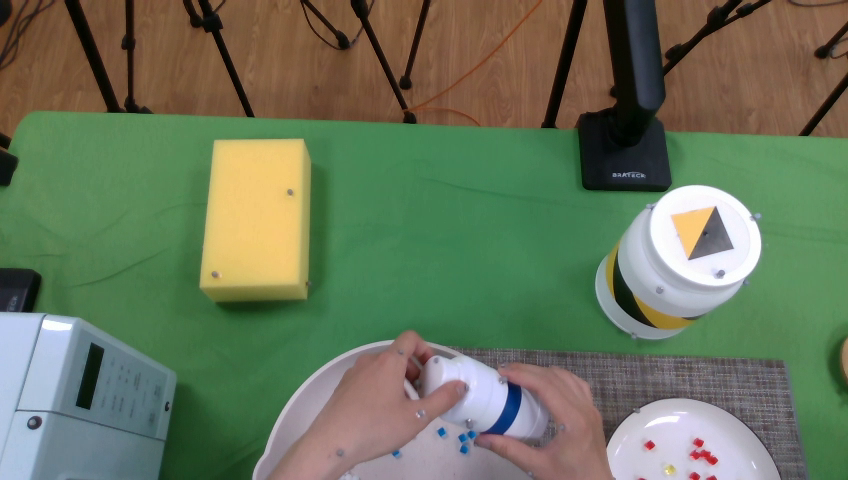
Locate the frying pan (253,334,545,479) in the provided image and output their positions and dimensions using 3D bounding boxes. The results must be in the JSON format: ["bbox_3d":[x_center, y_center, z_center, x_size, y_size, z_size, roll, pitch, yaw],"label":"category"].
[{"bbox_3d":[-0.029,0.341,0.611,0.307,0.103,0.483,1,60,2],"label":"frying pan"}]

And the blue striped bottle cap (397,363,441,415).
[{"bbox_3d":[-0.003,0.137,0.558,0.044,0.021,0.044,-27,38,24],"label":"blue striped bottle cap"}]

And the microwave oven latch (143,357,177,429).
[{"bbox_3d":[-0.305,0.173,0.691,0.030,0.030,0.078,5,68,1],"label":"microwave oven latch"}]

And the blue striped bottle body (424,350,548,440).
[{"bbox_3d":[0.053,0.144,0.573,0.122,0.063,0.062,25,65,-26],"label":"blue striped bottle body"}]

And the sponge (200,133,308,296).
[{"bbox_3d":[-0.215,-0.035,0.785,0.118,0.061,0.205,-3,69,-2],"label":"sponge"}]

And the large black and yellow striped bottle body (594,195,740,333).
[{"bbox_3d":[0.284,0.025,0.706,0.131,0.185,0.130,0,67,-1],"label":"large black and yellow striped bottle body"}]

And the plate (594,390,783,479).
[{"bbox_3d":[0.292,0.275,0.680,0.209,0.038,0.207,0,68,-1],"label":"plate"}]

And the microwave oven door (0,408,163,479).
[{"bbox_3d":[-0.316,0.336,0.515,0.039,0.245,0.353,2,67,0],"label":"microwave oven door"}]

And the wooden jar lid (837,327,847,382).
[{"bbox_3d":[0.564,0.152,0.749,0.108,0.021,0.107,0,69,-1],"label":"wooden jar lid"}]

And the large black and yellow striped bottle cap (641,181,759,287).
[{"bbox_3d":[0.285,-0.008,0.627,0.115,0.019,0.114,0,66,0],"label":"large black and yellow striped bottle cap"}]

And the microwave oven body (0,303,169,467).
[{"bbox_3d":[-0.459,0.293,0.535,0.326,0.262,0.438,3,68,0],"label":"microwave oven body"}]
